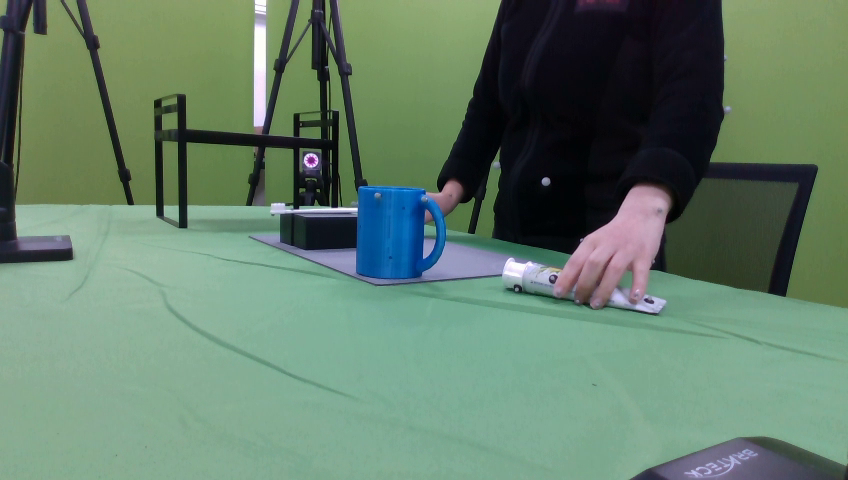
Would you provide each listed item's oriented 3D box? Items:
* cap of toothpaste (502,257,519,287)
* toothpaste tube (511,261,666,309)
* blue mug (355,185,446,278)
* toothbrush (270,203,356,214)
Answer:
[{"bbox_3d":[0.100,0.037,0.681,0.011,0.037,0.037,10,10,29],"label":"cap of toothpaste"},{"bbox_3d":[0.166,0.049,0.641,0.164,0.034,0.055,9,18,28],"label":"toothpaste tube"},{"bbox_3d":[-0.027,-0.011,0.723,0.116,0.106,0.083,7,8,27],"label":"blue mug"},{"bbox_3d":[-0.156,-0.050,0.958,0.183,0.016,0.014,-2,3,-34],"label":"toothbrush"}]
